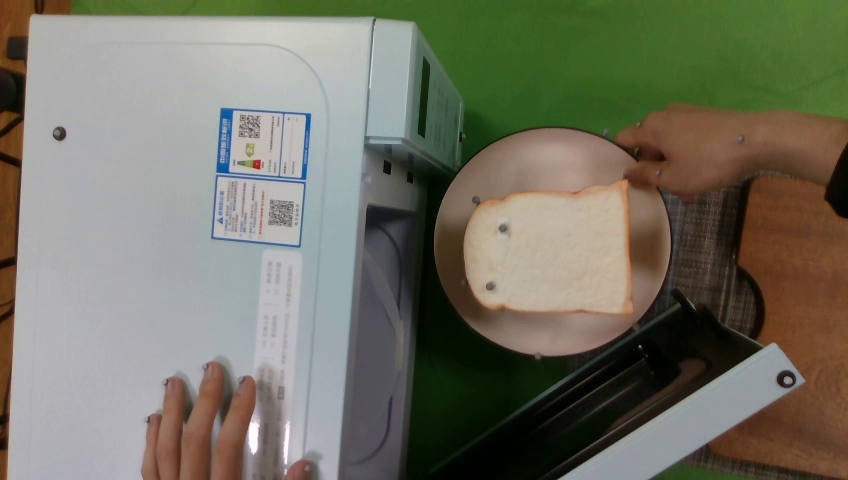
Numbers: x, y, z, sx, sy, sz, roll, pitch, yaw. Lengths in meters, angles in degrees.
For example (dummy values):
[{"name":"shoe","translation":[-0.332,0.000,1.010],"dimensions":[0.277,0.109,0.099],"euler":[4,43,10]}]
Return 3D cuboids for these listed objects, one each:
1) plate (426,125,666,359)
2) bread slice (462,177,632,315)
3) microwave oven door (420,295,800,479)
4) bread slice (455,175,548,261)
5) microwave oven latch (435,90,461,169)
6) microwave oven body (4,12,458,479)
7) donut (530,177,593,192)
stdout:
[{"name":"plate","translation":[0.107,0.003,0.548],"dimensions":[0.207,0.039,0.208],"euler":[1,97,8]},{"name":"bread slice","translation":[0.098,0.010,0.490],"dimensions":[0.134,0.018,0.107],"euler":[-6,97,16]},{"name":"microwave oven door","translation":[0.101,0.175,0.501],"dimensions":[0.356,0.244,0.039],"euler":[-38,83,10]},{"name":"bread slice","translation":[0.094,-0.009,0.567],"dimensions":[0.132,0.019,0.105],"euler":[3,104,-4]},{"name":"microwave oven latch","translation":[0.022,-0.112,0.612],"dimensions":[0.030,0.029,0.079],"euler":[5,93,11]},{"name":"microwave oven body","translation":[-0.157,0.053,0.555],"dimensions":[0.325,0.260,0.441],"euler":[5,93,11]},{"name":"donut","translation":[0.121,-0.007,0.524],"dimensions":[0.099,0.048,0.099],"euler":[1,113,2]}]
